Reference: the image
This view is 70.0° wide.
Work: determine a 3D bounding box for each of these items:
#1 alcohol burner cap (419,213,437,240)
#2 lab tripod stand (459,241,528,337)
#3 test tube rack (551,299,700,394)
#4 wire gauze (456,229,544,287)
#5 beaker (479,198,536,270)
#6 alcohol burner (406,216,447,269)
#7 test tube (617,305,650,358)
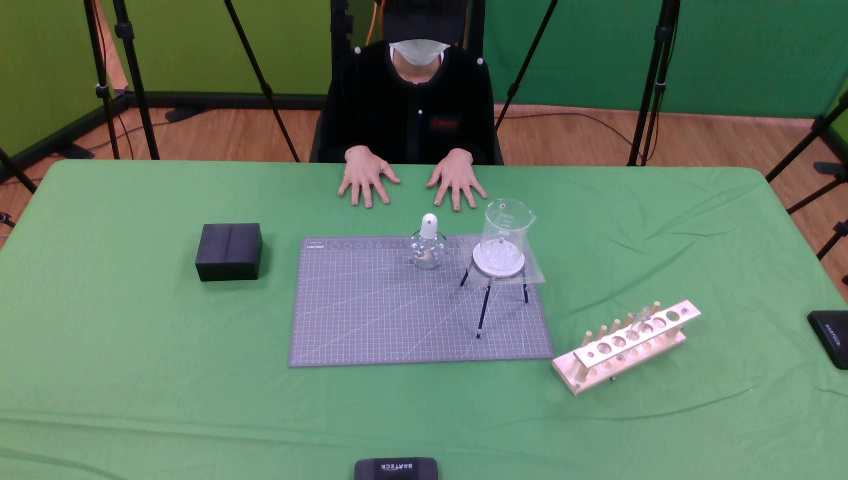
[{"bbox_3d":[0.009,-0.027,1.109,0.034,0.048,0.033,3,44,-3],"label":"alcohol burner cap"},{"bbox_3d":[0.122,0.075,1.054,0.148,0.132,0.147,3,44,-3],"label":"lab tripod stand"},{"bbox_3d":[0.339,0.166,1.021,0.242,0.085,0.066,-19,50,-21],"label":"test tube rack"},{"bbox_3d":[0.125,0.030,1.008,0.125,0.011,0.120,-3,48,-11],"label":"wire gauze"},{"bbox_3d":[0.131,-0.007,0.975,0.084,0.101,0.073,3,46,-4],"label":"beaker"},{"bbox_3d":[0.006,-0.002,1.134,0.078,0.120,0.077,2,48,-2],"label":"alcohol burner"},{"bbox_3d":[0.333,0.149,0.967,0.017,0.151,0.017,0,52,1],"label":"test tube"}]
